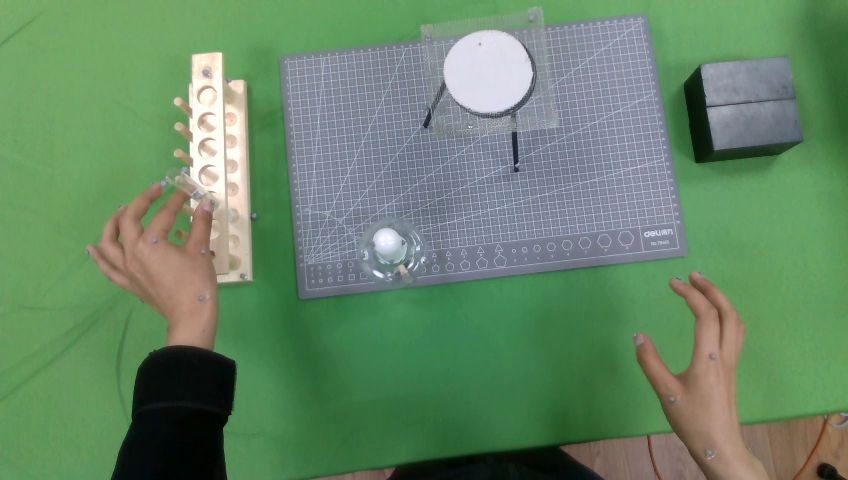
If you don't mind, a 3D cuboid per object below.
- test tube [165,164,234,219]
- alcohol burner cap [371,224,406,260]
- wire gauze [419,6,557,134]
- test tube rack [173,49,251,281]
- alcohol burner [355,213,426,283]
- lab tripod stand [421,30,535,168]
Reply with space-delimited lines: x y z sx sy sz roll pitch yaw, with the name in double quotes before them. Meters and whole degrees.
"test tube" -0.227 -0.047 0.625 0.017 0.151 0.017 0 78 2
"alcohol burner cap" -0.038 0.001 0.611 0.034 0.048 0.033 -1 79 6
"wire gauze" 0.062 -0.165 0.592 0.125 0.011 0.121 -6 82 1
"test tube rack" -0.244 -0.080 0.681 0.067 0.085 0.241 -4 82 1
"alcohol burner" -0.037 0.006 0.647 0.078 0.119 0.077 0 81 0
"lab tripod stand" 0.067 -0.159 0.658 0.148 0.132 0.148 0 80 2
